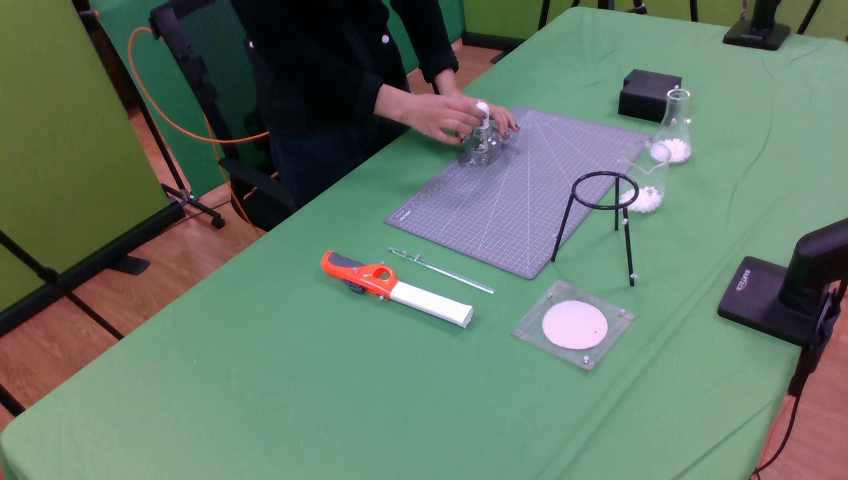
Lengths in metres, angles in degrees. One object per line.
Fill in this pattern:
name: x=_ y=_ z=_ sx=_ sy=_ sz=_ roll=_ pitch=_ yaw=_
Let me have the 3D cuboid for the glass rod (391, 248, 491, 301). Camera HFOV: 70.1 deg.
glass rod: x=0.023 y=0.050 z=0.935 sx=0.198 sy=0.008 sz=0.008 roll=25 pitch=52 yaw=32

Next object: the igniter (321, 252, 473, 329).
igniter: x=-0.051 y=0.071 z=0.906 sx=0.274 sy=0.025 sz=0.057 roll=19 pitch=58 yaw=29

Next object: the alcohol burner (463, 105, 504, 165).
alcohol burner: x=0.109 y=-0.201 z=1.126 sx=0.078 sy=0.119 sz=0.077 roll=-5 pitch=42 yaw=5

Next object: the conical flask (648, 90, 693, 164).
conical flask: x=0.437 y=-0.199 z=1.057 sx=0.075 sy=0.122 sz=0.075 roll=-5 pitch=40 yaw=5

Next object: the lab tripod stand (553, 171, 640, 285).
lab tripod stand: x=0.260 y=-0.025 z=0.877 sx=0.148 sy=0.132 sz=0.147 roll=-6 pitch=38 yaw=5

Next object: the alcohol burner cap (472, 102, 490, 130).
alcohol burner cap: x=0.105 y=-0.228 z=1.101 sx=0.034 sy=0.048 sz=0.033 roll=0 pitch=38 yaw=0

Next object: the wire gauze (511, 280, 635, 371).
wire gauze: x=0.203 y=0.114 z=0.822 sx=0.120 sy=0.011 sz=0.125 roll=25 pitch=52 yaw=35

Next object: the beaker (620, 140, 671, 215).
beaker: x=0.352 y=-0.096 z=0.971 sx=0.074 sy=0.101 sz=0.084 roll=1 pitch=42 yaw=13
